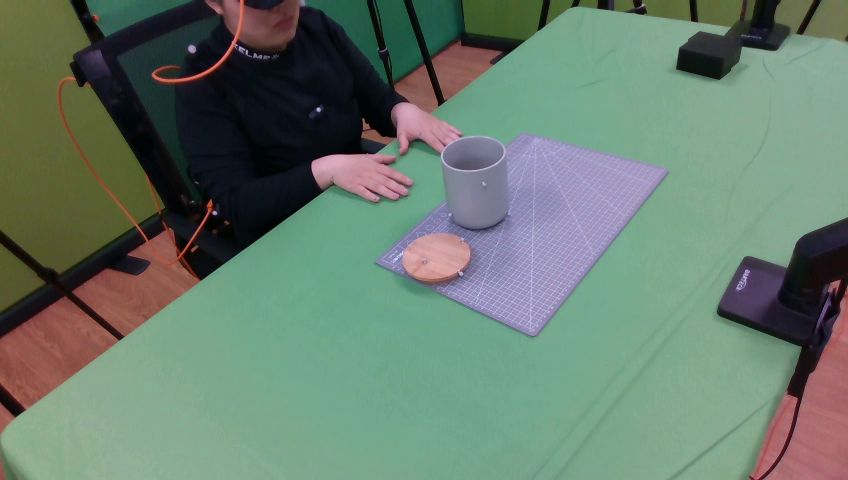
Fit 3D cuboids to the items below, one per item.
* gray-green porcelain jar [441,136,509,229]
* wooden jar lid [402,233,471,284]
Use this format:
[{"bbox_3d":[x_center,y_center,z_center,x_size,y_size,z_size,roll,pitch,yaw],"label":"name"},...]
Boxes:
[{"bbox_3d":[0.086,-0.090,0.988,0.106,0.127,0.105,-5,40,5],"label":"gray-green porcelain jar"},{"bbox_3d":[0.020,0.030,0.941,0.108,0.021,0.108,-4,40,4],"label":"wooden jar lid"}]
